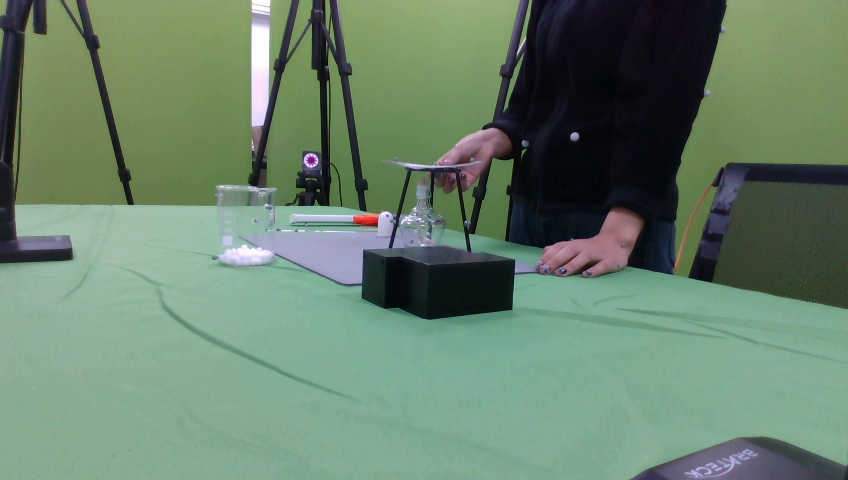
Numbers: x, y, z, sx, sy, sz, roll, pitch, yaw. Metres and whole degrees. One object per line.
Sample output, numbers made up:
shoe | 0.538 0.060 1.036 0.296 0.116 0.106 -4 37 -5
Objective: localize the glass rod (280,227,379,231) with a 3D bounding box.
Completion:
glass rod | -0.175 -0.021 1.161 0.200 0.008 0.008 0 7 -15

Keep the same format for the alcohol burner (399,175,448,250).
alcohol burner | -0.001 -0.044 0.962 0.078 0.119 0.078 0 8 0

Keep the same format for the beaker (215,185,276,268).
beaker | -0.226 -0.019 0.773 0.074 0.100 0.084 5 7 14

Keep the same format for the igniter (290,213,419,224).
igniter | -0.143 -0.046 1.288 0.278 0.025 0.057 -1 -3 -24

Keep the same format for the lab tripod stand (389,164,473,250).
lab tripod stand | 0.011 -0.054 0.961 0.148 0.131 0.148 2 9 0

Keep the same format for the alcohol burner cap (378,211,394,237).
alcohol burner cap | -0.069 -0.030 1.112 0.034 0.048 0.034 -1 9 0

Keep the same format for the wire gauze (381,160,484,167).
wire gauze | 0.011 -0.120 0.950 0.122 0.011 0.124 -4 9 -32
